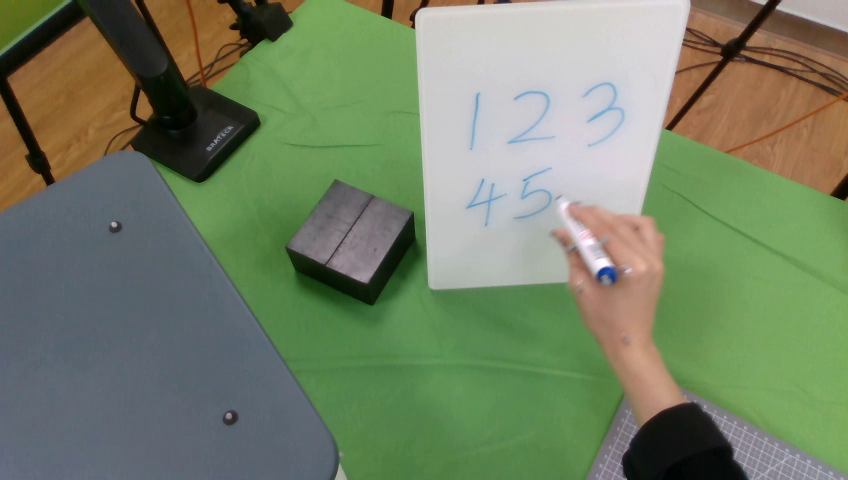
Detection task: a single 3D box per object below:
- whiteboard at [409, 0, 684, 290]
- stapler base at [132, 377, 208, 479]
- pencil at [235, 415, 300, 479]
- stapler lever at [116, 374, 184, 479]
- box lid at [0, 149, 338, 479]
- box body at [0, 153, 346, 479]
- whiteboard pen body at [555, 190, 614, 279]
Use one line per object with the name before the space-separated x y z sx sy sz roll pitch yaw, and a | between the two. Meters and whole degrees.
whiteboard | 0.100 -0.113 0.615 0.217 0.308 0.142 -3 40 0
stapler base | -0.242 0.188 0.560 0.041 0.025 0.129 1 62 22
pencil | -0.180 0.232 0.543 0.012 0.012 0.193 31 53 18
stapler lever | -0.249 0.178 0.540 0.026 0.040 0.117 1 60 22
box lid | -0.264 0.099 0.457 0.263 0.015 0.368 -34 66 -17
box body | -0.261 0.138 0.521 0.254 0.162 0.361 -34 65 -17
whiteboard pen body | 0.130 -0.010 0.512 0.017 0.017 0.139 -6 31 -2
